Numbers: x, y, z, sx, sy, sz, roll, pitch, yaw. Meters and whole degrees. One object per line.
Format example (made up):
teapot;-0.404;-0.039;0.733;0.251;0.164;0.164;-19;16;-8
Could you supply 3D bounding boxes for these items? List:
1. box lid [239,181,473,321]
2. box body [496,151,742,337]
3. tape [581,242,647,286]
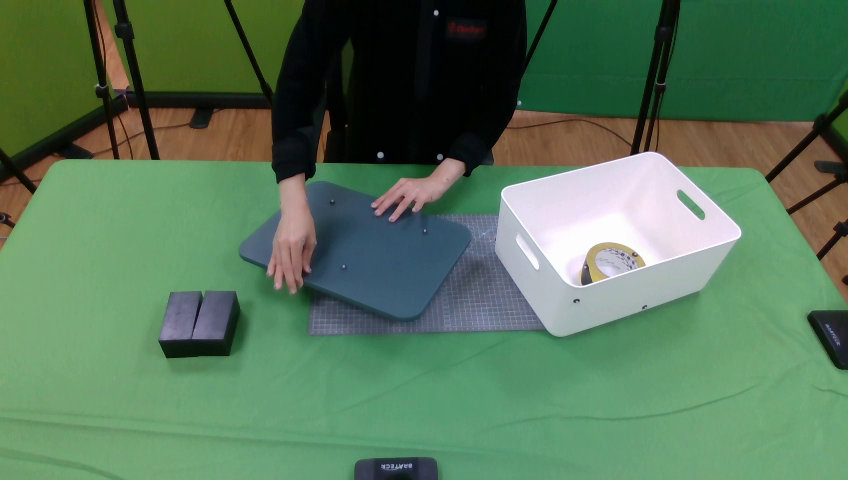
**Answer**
box lid;-0.123;0.004;1.108;0.370;0.015;0.262;18;43;19
box body;0.340;0.003;1.118;0.364;0.161;0.252;-15;49;-18
tape;0.355;0.060;1.132;0.117;0.053;0.116;2;47;-2
